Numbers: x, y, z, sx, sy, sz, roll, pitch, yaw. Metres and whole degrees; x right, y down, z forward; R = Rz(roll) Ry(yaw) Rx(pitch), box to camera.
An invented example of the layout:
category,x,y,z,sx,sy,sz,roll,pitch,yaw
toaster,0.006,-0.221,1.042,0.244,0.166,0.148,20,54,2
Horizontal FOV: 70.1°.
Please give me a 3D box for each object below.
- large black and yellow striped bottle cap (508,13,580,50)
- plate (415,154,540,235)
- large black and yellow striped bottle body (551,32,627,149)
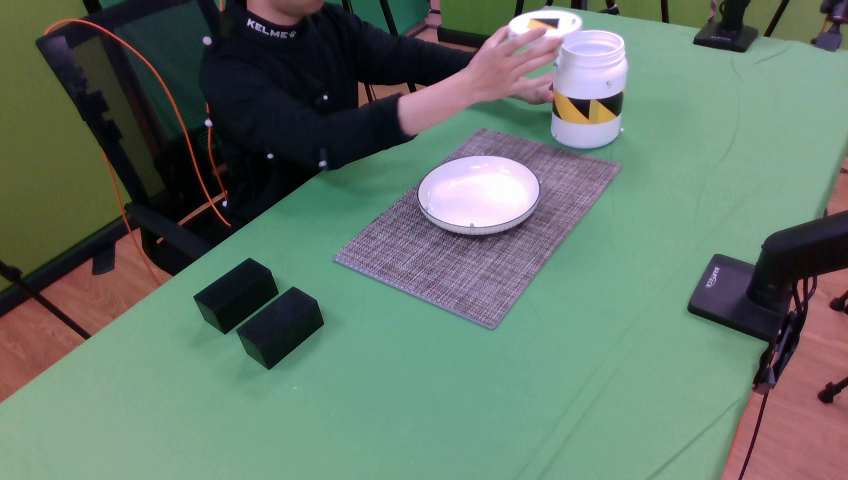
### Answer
category,x,y,z,sx,sy,sz,roll,pitch,yaw
large black and yellow striped bottle cap,0.192,-0.337,0.972,0.115,0.019,0.114,-4,38,4
plate,0.090,-0.074,1.025,0.207,0.039,0.206,-4,41,4
large black and yellow striped bottle body,0.305,-0.278,1.125,0.131,0.185,0.130,-4,41,4
